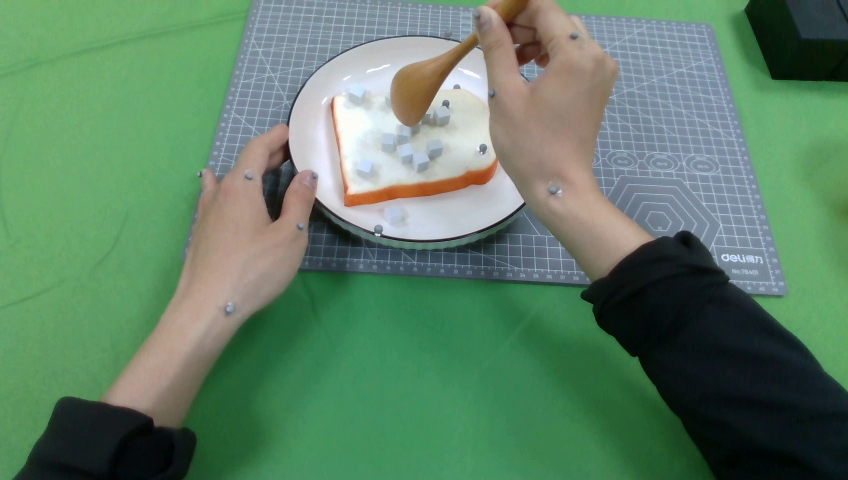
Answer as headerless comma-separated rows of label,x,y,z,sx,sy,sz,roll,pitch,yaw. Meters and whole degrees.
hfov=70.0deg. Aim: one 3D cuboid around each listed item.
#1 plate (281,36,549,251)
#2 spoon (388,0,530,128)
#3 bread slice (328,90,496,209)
plate,-0.007,-0.078,0.484,0.209,0.038,0.207,2,60,-3
spoon,0.030,-0.131,0.392,0.022,0.193,0.041,-14,78,-45
bread slice,-0.009,-0.081,0.489,0.132,0.019,0.104,-11,62,-8
